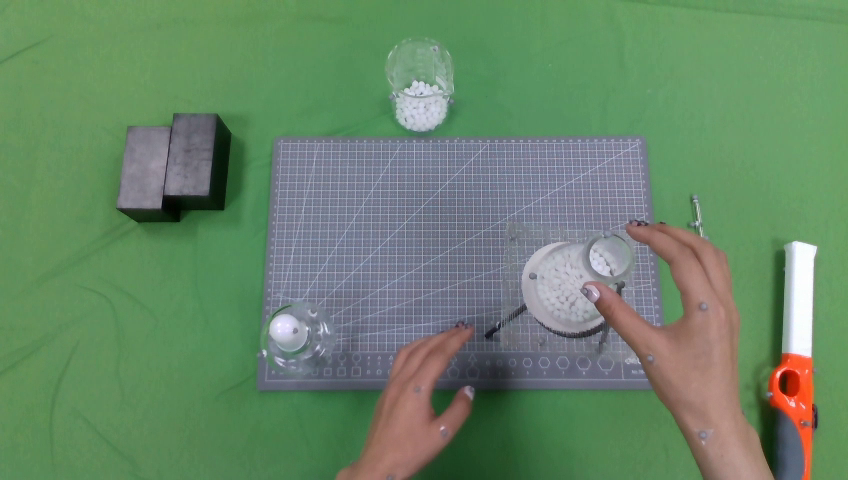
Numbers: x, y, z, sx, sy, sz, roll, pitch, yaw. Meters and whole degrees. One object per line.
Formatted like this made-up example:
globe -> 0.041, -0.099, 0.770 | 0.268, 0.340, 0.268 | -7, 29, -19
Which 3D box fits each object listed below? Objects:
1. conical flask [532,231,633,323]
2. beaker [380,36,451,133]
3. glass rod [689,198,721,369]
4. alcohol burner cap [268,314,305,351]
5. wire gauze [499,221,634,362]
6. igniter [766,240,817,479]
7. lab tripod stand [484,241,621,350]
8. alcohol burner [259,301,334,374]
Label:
conical flask -> 0.135, 0.026, 0.499 | 0.075, 0.122, 0.075 | 0, 77, 0
beaker -> -0.006, -0.173, 0.702 | 0.084, 0.100, 0.074 | 35, 78, 8
glass rod -> 0.319, 0.046, 0.690 | 0.008, 0.008, 0.198 | -2, 75, -1
alcohol burner cap -> -0.134, 0.087, 0.585 | 0.034, 0.048, 0.033 | 1, 68, -2
wire gauze -> 0.132, 0.045, 0.555 | 0.125, 0.011, 0.121 | 6, 78, 0
igniter -> 0.400, 0.134, 0.658 | 0.057, 0.025, 0.275 | 13, 76, -7
lab tripod stand -> 0.134, 0.063, 0.619 | 0.148, 0.132, 0.147 | 0, 77, 1
alcohol burner -> -0.134, 0.098, 0.620 | 0.078, 0.119, 0.077 | 0, 76, 2
